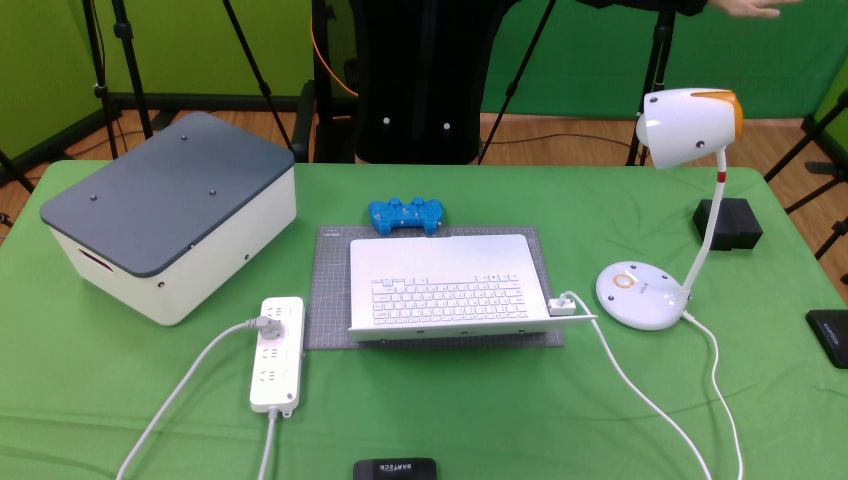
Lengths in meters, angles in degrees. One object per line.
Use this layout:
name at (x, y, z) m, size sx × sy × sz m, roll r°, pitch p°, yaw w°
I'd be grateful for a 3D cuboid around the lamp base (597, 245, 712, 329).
lamp base at (0.418, 0.051, 1.072) m, size 0.179 × 0.181 × 0.160 m, roll 22°, pitch 49°, yaw 13°

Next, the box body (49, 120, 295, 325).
box body at (-0.437, -0.046, 1.110) m, size 0.253 × 0.161 × 0.363 m, roll 24°, pitch 49°, yaw 19°

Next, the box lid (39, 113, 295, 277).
box lid at (-0.435, -0.096, 1.056) m, size 0.262 × 0.015 × 0.370 m, roll 25°, pitch 48°, yaw 18°

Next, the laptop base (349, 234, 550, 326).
laptop base at (0.040, 0.080, 1.125) m, size 0.355 × 0.023 × 0.234 m, roll -2°, pitch 43°, yaw -6°

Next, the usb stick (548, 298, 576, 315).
usb stick at (0.240, 0.119, 1.086) m, size 0.059 × 0.027 × 0.021 m, roll -2°, pitch 52°, yaw -2°

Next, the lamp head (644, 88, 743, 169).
lamp head at (0.380, -0.161, 0.851) m, size 0.122 × 0.113 × 0.112 m, roll -4°, pitch 42°, yaw 25°

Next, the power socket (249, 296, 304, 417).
power socket at (-0.239, 0.182, 0.996) m, size 0.072 × 0.033 × 0.225 m, roll -2°, pitch 47°, yaw -5°

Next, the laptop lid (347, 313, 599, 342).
laptop lid at (0.062, 0.138, 0.932) m, size 0.357 × 0.242 × 0.013 m, roll -2°, pitch 77°, yaw -8°

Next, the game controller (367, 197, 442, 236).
game controller at (-0.037, -0.057, 1.231) m, size 0.155 × 0.052 × 0.096 m, roll -2°, pitch 49°, yaw -5°

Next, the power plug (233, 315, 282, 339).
power plug at (-0.271, 0.144, 0.999) m, size 0.072 × 0.053 × 0.035 m, roll 5°, pitch 47°, yaw 3°
